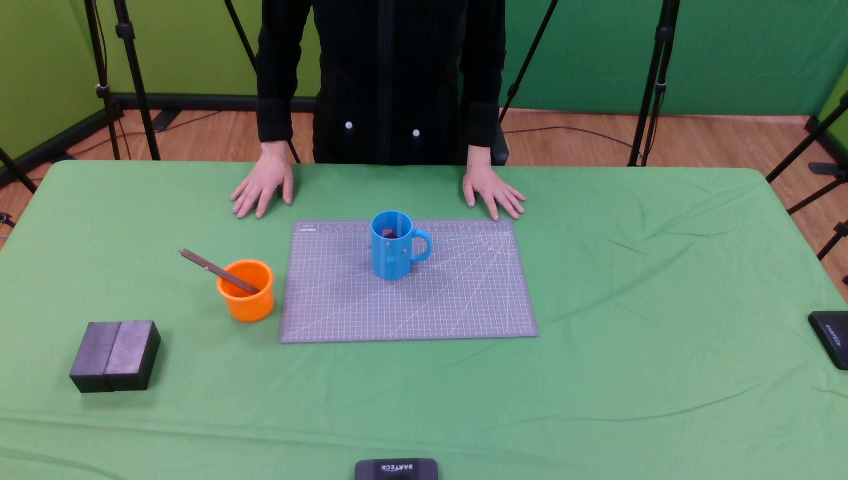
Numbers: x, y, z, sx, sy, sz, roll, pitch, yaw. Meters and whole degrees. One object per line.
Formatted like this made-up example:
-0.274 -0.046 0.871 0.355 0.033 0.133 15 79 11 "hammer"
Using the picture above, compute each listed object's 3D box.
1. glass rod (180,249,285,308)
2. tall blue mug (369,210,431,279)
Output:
-0.322 0.068 1.028 0.200 0.008 0.008 34 40 -25 "glass rod"
-0.049 0.005 1.125 0.107 0.108 0.077 -19 50 -21 "tall blue mug"
